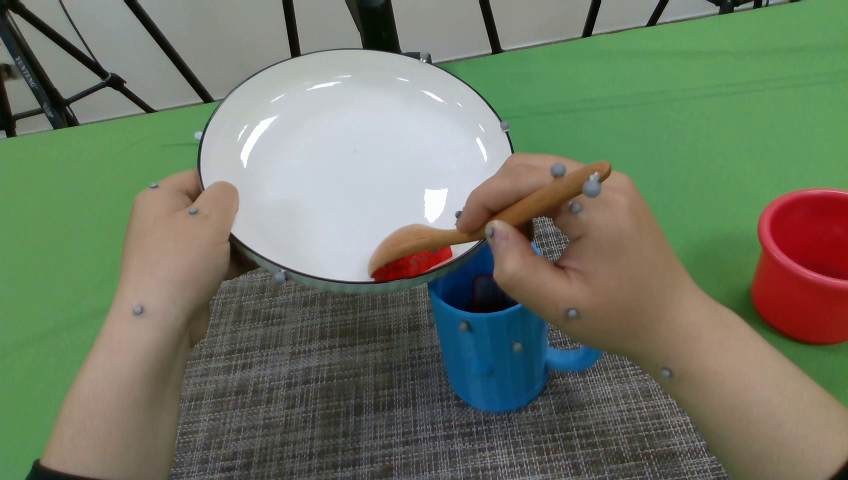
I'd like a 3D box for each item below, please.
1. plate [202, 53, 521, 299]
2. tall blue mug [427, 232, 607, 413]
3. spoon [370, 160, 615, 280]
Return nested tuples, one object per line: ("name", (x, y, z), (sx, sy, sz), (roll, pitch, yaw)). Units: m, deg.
("plate", (-0.039, -0.047, 0.414), (0.208, 0.039, 0.205), (3, 55, -4))
("tall blue mug", (0.062, 0.055, 0.417), (0.107, 0.109, 0.077), (-14, 43, -1))
("spoon", (0.022, -0.005, 0.298), (0.041, 0.022, 0.193), (-40, 12, -32))
